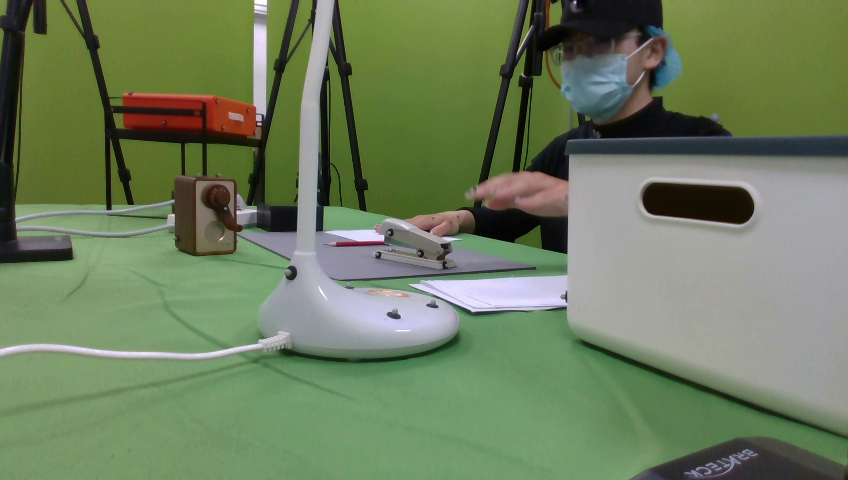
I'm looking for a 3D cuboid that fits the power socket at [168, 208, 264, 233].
[{"bbox_3d":[-0.381,-0.038,1.129,0.072,0.032,0.227,4,8,17],"label":"power socket"}]

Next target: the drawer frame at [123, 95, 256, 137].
[{"bbox_3d":[-0.524,-0.281,1.376,0.213,0.082,0.202,3,8,8],"label":"drawer frame"}]

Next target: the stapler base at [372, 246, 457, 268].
[{"bbox_3d":[-0.016,0.017,0.831,0.130,0.024,0.041,10,12,39],"label":"stapler base"}]

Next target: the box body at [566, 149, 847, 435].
[{"bbox_3d":[0.318,0.009,0.471,0.366,0.160,0.253,-2,8,-31],"label":"box body"}]

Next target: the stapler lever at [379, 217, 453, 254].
[{"bbox_3d":[-0.013,-0.007,0.828,0.117,0.040,0.027,9,11,39],"label":"stapler lever"}]

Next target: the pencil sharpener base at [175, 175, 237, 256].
[{"bbox_3d":[-0.304,-0.036,0.847,0.062,0.107,0.076,-4,10,-42],"label":"pencil sharpener base"}]

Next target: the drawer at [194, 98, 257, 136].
[{"bbox_3d":[-0.518,-0.279,1.376,0.211,0.073,0.195,3,8,9],"label":"drawer"}]

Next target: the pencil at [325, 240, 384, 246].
[{"bbox_3d":[-0.066,0.003,0.979,0.195,0.012,0.012,-3,9,-25],"label":"pencil"}]

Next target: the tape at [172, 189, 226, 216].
[{"bbox_3d":[-0.515,-0.087,1.388,0.117,0.052,0.117,3,8,0],"label":"tape"}]

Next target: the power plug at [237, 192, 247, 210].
[{"bbox_3d":[-0.386,-0.071,1.204,0.072,0.052,0.035,7,9,26],"label":"power plug"}]

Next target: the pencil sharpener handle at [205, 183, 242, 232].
[{"bbox_3d":[-0.265,-0.043,0.812,0.036,0.068,0.030,-31,27,-35],"label":"pencil sharpener handle"}]

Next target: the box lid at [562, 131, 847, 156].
[{"bbox_3d":[0.322,-0.064,0.463,0.373,0.015,0.262,-2,9,-31],"label":"box lid"}]

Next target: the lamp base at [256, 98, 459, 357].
[{"bbox_3d":[-0.055,-0.013,0.463,0.160,0.180,0.180,6,11,27],"label":"lamp base"}]
